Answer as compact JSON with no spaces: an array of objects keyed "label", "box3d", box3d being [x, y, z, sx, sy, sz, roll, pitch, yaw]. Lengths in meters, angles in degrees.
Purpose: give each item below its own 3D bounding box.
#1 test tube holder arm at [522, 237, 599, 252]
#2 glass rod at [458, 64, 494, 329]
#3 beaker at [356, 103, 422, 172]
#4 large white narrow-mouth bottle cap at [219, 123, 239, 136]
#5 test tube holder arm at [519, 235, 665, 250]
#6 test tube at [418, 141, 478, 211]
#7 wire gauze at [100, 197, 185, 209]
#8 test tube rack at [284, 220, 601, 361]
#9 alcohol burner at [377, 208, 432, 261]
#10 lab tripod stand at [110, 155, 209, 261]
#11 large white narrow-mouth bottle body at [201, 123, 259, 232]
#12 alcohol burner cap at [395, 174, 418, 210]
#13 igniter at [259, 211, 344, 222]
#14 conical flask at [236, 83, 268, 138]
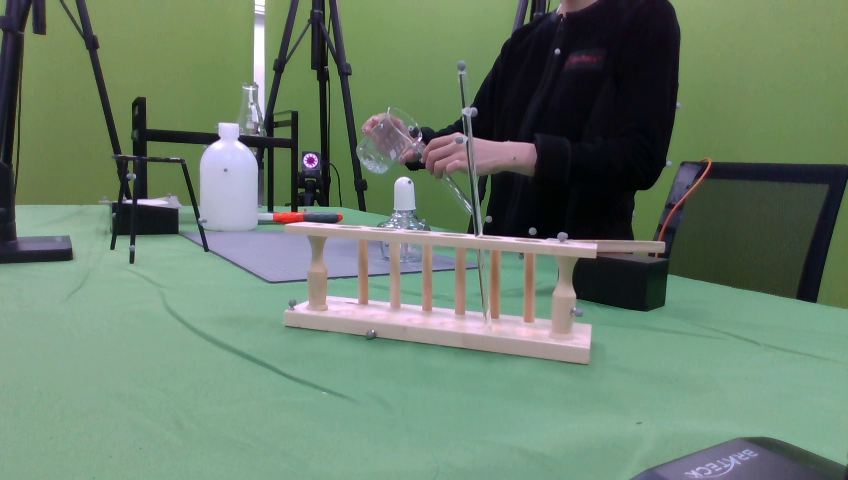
[{"label":"test tube holder arm","box3d":[0.144,0.005,0.636,0.088,0.015,0.010,-1,17,-19]},{"label":"glass rod","box3d":[0.039,-0.029,0.449,0.008,0.199,0.008,-7,9,1]},{"label":"beaker","box3d":[-0.061,-0.169,1.029,0.100,0.084,0.074,-41,-18,33]},{"label":"large white narrow-mouth bottle cap","box3d":[-0.356,-0.201,1.104,0.038,0.024,0.037,2,8,0]},{"label":"test tube holder arm","box3d":[0.186,0.003,0.656,0.179,0.015,0.013,-1,17,-19]},{"label":"test tube","box3d":[0.038,-0.103,0.965,0.017,0.017,0.150,-9,56,-54]},{"label":"wire gauze","box3d":[-0.469,-0.062,1.008,0.126,0.011,0.121,-2,8,-25]},{"label":"test tube rack","box3d":[0.013,0.032,0.482,0.242,0.085,0.067,4,7,16]},{"label":"alcohol burner","box3d":[-0.027,-0.031,0.838,0.078,0.119,0.078,0,6,0]},{"label":"lab tripod stand","box3d":[-0.361,-0.046,0.806,0.148,0.131,0.148,2,5,0]},{"label":"large white narrow-mouth bottle body","box3d":[-0.358,-0.116,1.116,0.102,0.194,0.102,2,8,0]},{"label":"alcohol burner cap","box3d":[-0.026,-0.067,0.833,0.034,0.048,0.034,-2,12,1]},{"label":"igniter","box3d":[-0.302,-0.048,1.249,0.278,0.025,0.057,-2,-2,-27]},{"label":"conical flask","box3d":[-0.400,-0.298,1.396,0.075,0.122,0.075,2,8,0]}]
